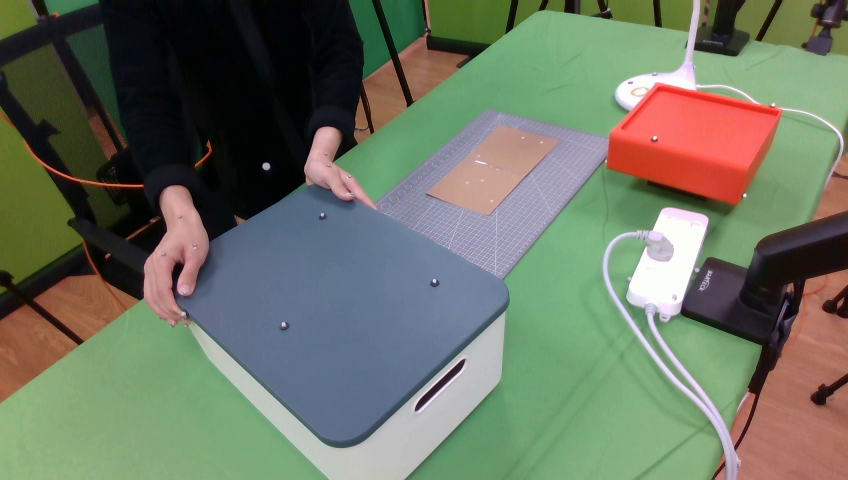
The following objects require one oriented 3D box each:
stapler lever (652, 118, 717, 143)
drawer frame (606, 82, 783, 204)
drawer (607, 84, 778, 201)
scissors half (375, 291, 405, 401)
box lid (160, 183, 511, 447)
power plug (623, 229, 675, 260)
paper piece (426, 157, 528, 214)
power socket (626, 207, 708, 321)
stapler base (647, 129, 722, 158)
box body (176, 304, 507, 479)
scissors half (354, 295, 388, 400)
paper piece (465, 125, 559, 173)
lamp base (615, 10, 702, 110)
[{"bbox_3d":[0.436,-0.192,1.014,0.118,0.040,0.026,-15,24,-16],"label":"stapler lever"},{"bbox_3d":[0.441,-0.167,0.995,0.212,0.083,0.202,23,48,30],"label":"drawer frame"},{"bbox_3d":[0.438,-0.167,0.995,0.210,0.073,0.195,23,48,30],"label":"drawer"},{"bbox_3d":[-0.048,0.138,0.816,0.040,0.013,0.174,-5,46,10],"label":"scissors half"},{"bbox_3d":[-0.113,0.053,0.705,0.368,0.015,0.264,29,51,35],"label":"box lid"},{"bbox_3d":[0.327,0.007,0.878,0.072,0.053,0.035,25,51,32],"label":"power plug"},{"bbox_3d":[0.095,-0.103,1.089,0.134,0.004,0.136,23,48,30],"label":"paper piece"},{"bbox_3d":[0.360,0.026,0.886,0.072,0.033,0.227,16,46,26],"label":"power socket"},{"bbox_3d":[0.439,-0.167,1.023,0.131,0.024,0.041,-17,25,-15],"label":"stapler base"},{"bbox_3d":[-0.104,0.110,0.752,0.361,0.161,0.255,29,52,35],"label":"box body"},{"bbox_3d":[-0.068,0.142,0.818,0.040,0.013,0.174,-21,44,1],"label":"scissors half"},{"bbox_3d":[0.171,-0.177,1.167,0.137,0.009,0.136,21,44,30],"label":"paper piece"},{"bbox_3d":[0.484,-0.364,1.211,0.180,0.181,0.159,-15,41,-14],"label":"lamp base"}]
